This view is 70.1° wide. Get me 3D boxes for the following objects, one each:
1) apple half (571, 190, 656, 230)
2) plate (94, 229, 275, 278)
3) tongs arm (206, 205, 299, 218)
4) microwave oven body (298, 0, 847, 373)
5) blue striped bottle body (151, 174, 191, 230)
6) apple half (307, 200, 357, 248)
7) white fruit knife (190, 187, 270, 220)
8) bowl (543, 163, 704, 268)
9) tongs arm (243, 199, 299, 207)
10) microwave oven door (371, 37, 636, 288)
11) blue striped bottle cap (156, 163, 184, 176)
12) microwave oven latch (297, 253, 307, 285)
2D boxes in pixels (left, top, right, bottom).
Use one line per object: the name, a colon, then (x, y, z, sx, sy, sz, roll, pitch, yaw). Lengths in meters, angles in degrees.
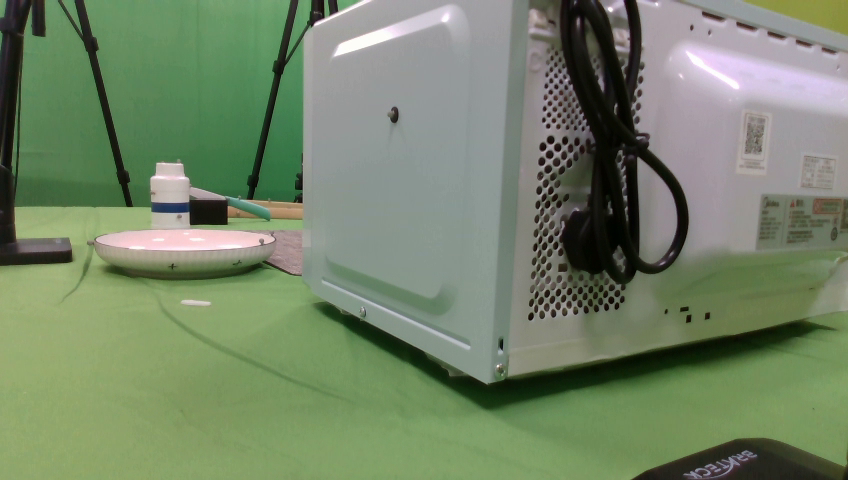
apple half: (0.182, -0.031, 0.583, 0.081, 0.033, 0.081, 11, -4, 1)
plate: (-0.291, 0.016, 0.749, 0.208, 0.039, 0.207, 2, 7, 0)
tongs arm: (-0.302, -0.065, 1.407, 0.389, 0.028, 0.028, 1, 4, -15)
microwave oven body: (0.151, -0.055, 0.542, 0.444, 0.260, 0.324, -1, 7, -33)
blue striped bottle body: (-0.439, -0.071, 1.052, 0.063, 0.120, 0.063, 2, 7, 0)
apple half: (-0.135, -0.024, 0.941, 0.053, 0.074, 0.081, 13, 8, 38)
white fruit knife: (-0.413, -0.081, 1.270, 0.208, 0.027, 0.016, 18, 14, -41)
bowl: (0.181, -0.020, 0.584, 0.151, 0.077, 0.151, 13, 7, -1)
tongs arm: (-0.309, -0.079, 1.487, 0.385, 0.026, 0.050, 3, 7, -2)
microwave oven door: (0.110, -0.080, 0.686, 0.358, 0.243, 0.039, -2, 9, -33)
blue striped bottle cap: (-0.438, -0.122, 1.045, 0.044, 0.020, 0.044, 5, 6, 0)
microwave oven latch: (-0.082, 0.027, 0.582, 0.079, 0.029, 0.030, -1, 7, -33)
